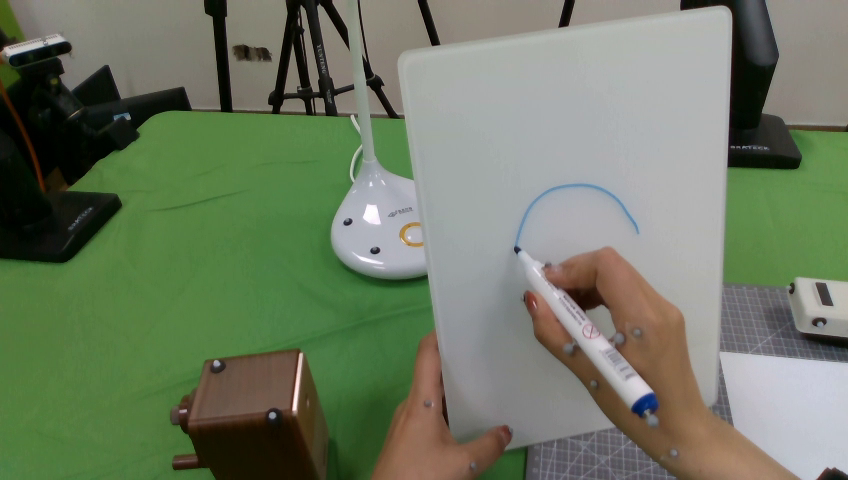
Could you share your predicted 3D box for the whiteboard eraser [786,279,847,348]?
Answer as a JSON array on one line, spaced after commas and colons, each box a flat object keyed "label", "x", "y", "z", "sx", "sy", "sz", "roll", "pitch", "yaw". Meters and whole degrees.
[{"label": "whiteboard eraser", "x": 0.380, "y": 0.067, "z": 0.522, "sx": 0.112, "sy": 0.042, "sz": 0.055, "roll": 7, "pitch": 41, "yaw": 14}]

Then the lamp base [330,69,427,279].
[{"label": "lamp base", "x": -0.038, "y": -0.078, "z": 0.638, "sx": 0.161, "sy": 0.182, "sz": 0.177, "roll": -28, "pitch": 42, "yaw": -25}]

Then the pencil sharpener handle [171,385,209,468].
[{"label": "pencil sharpener handle", "x": -0.168, "y": 0.135, "z": 0.427, "sx": 0.030, "sy": 0.068, "sz": 0.035, "roll": -6, "pitch": 27, "yaw": -1}]

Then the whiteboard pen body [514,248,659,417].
[{"label": "whiteboard pen body", "x": 0.090, "y": 0.048, "z": 0.364, "sx": 0.017, "sy": 0.017, "sz": 0.139, "roll": -18, "pitch": 44, "yaw": -16}]

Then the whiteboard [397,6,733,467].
[{"label": "whiteboard", "x": 0.101, "y": -0.008, "z": 0.485, "sx": 0.217, "sy": 0.307, "sz": 0.143, "roll": -10, "pitch": 20, "yaw": -4}]

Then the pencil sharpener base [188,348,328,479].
[{"label": "pencil sharpener base", "x": -0.117, "y": 0.137, "z": 0.439, "sx": 0.077, "sy": 0.108, "sz": 0.060, "roll": -6, "pitch": 39, "yaw": -1}]
